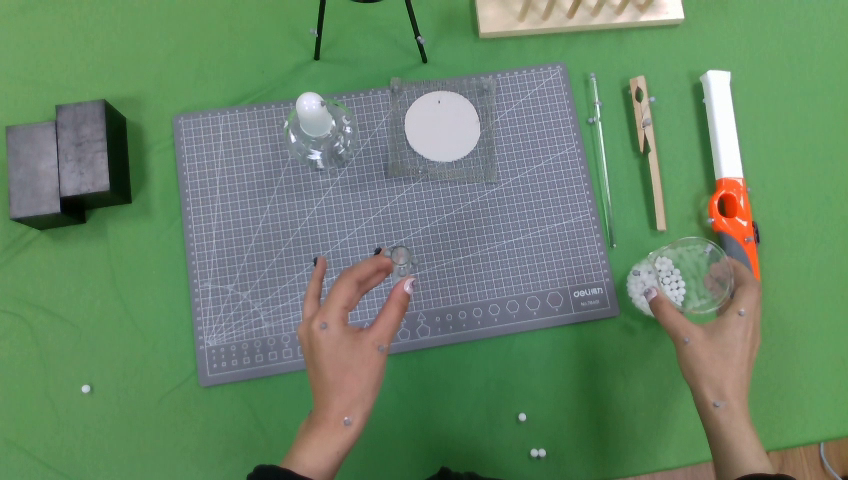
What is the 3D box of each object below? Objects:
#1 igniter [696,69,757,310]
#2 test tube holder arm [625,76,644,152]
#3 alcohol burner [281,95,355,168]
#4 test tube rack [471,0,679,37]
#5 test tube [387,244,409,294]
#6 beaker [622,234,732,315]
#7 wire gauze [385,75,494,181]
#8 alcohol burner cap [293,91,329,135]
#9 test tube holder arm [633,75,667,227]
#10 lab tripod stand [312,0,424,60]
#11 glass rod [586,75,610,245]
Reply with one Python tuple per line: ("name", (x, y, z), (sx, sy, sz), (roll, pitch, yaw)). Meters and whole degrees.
("igniter", (0.337, -0.060, 0.678), (0.057, 0.025, 0.275), (0, 79, -13))
("test tube holder arm", (0.244, -0.144, 0.695), (0.010, 0.015, 0.087), (-13, 79, 31))
("alcohol burner", (-0.112, -0.118, 0.623), (0.078, 0.119, 0.077), (0, 80, 0))
("test tube rack", (0.179, -0.290, 0.684), (0.242, 0.085, 0.066), (-5, 80, -3))
("test tube", (-0.022, 0.028, 0.514), (0.017, 0.151, 0.017), (1, 76, -2))
("beaker", (0.250, 0.038, 0.621), (0.084, 0.100, 0.074), (23, 79, 3))
("wire gauze", (0.018, -0.129, 0.685), (0.125, 0.011, 0.121), (2, 81, -3))
("alcohol burner cap", (-0.111, -0.126, 0.588), (0.034, 0.048, 0.033), (1, 73, -2))
("test tube holder arm", (0.254, -0.101, 0.685), (0.013, 0.015, 0.177), (-14, 78, 31))
("lab tripod stand", (-0.063, -0.256, 0.643), (0.148, 0.132, 0.148), (0, 81, -2))
("glass rod", (0.198, -0.092, 0.687), (0.008, 0.008, 0.199), (-4, 82, -3))
